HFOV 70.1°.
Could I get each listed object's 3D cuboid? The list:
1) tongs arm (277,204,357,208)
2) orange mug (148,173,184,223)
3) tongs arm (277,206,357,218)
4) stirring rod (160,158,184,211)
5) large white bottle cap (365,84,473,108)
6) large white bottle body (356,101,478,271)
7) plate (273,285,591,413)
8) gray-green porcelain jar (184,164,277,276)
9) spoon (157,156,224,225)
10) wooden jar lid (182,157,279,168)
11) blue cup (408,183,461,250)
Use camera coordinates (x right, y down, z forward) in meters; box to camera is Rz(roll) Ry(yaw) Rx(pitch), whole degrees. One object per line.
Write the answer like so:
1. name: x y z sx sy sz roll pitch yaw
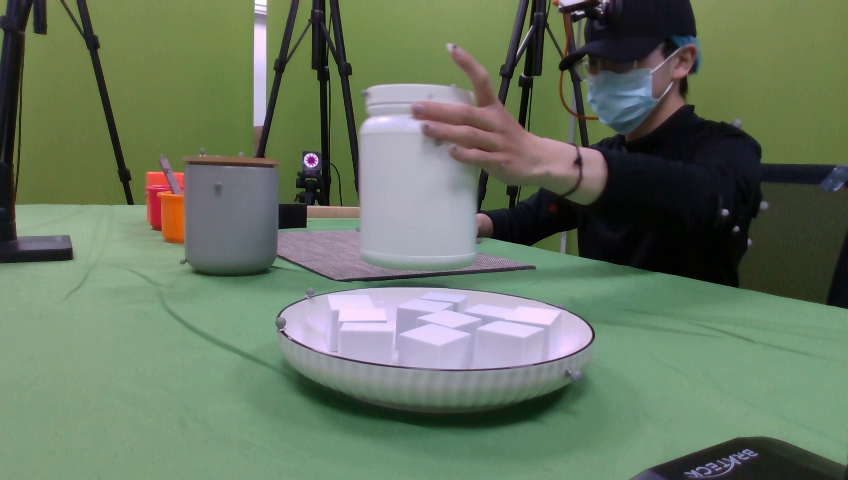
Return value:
1. tongs arm: -0.288 -0.071 1.435 0.389 0.027 0.028 1 0 -17
2. orange mug: -0.490 -0.087 1.222 0.127 0.101 0.083 -9 13 -38
3. tongs arm: -0.251 -0.062 1.360 0.387 0.026 0.050 -1 4 -31
4. stirring rod: -0.390 -0.070 0.972 0.014 0.006 0.175 -2 50 -48
5. large white bottle cap: -0.006 -0.150 0.644 0.115 0.018 0.115 1 6 0
6. large white bottle body: -0.008 -0.066 0.654 0.131 0.184 0.130 2 7 0
7. plate: 0.005 0.069 0.408 0.208 0.039 0.207 2 7 0
8. gray-green porcelain jar: -0.230 -0.025 0.722 0.106 0.126 0.106 3 7 0
9. spoon: -0.425 -0.094 1.117 0.041 0.022 0.194 5 51 29
10. wooden jar lid: -0.227 -0.086 0.714 0.108 0.020 0.108 0 6 0
11. blue cup: 0.015 -0.038 0.969 0.093 0.100 0.092 3 9 0
